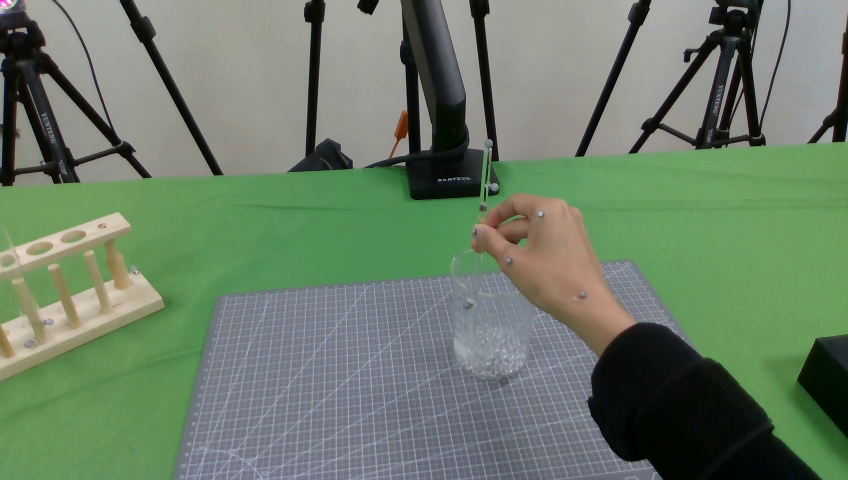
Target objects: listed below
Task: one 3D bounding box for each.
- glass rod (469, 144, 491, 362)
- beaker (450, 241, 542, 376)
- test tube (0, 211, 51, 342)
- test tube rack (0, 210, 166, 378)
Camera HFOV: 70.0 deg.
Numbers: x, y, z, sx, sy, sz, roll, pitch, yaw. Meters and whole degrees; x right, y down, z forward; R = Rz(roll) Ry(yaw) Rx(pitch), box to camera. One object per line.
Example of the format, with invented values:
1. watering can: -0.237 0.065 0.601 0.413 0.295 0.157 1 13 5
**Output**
1. glass rod: 0.046 0.019 0.499 0.008 0.201 0.008 1 26 0
2. beaker: 0.057 0.061 0.528 0.083 0.101 0.074 28 43 36
3. test tube: -0.349 0.028 0.516 0.017 0.151 0.017 1 33 -1
4. test tube rack: -0.374 0.063 0.545 0.242 0.086 0.066 -27 43 -33
